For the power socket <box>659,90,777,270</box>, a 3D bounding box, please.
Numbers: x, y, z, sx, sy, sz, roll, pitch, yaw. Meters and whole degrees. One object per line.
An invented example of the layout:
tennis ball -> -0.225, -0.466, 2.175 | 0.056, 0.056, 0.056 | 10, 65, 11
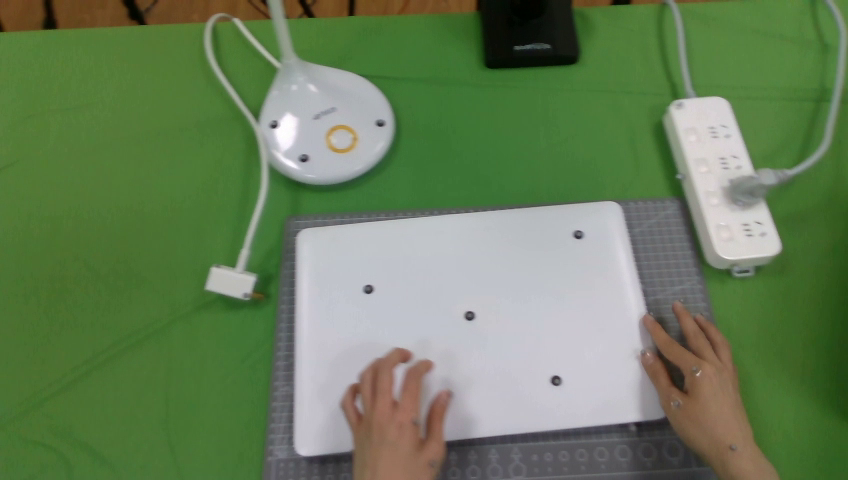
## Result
power socket -> 0.324, -0.076, 0.679 | 0.072, 0.033, 0.225 | -5, 65, -3

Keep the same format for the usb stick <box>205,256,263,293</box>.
usb stick -> -0.194, 0.038, 0.630 | 0.059, 0.021, 0.027 | 21, 95, -15

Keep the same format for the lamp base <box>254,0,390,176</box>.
lamp base -> -0.131, -0.186, 0.654 | 0.160, 0.181, 0.178 | -40, 68, -16

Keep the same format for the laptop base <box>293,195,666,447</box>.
laptop base -> 0.046, 0.074, 0.620 | 0.354, 0.023, 0.233 | -5, 69, -2

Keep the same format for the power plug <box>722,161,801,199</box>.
power plug -> 0.357, -0.059, 0.645 | 0.072, 0.053, 0.035 | 5, 64, 1

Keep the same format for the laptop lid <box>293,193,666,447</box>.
laptop lid -> 0.045, 0.071, 0.608 | 0.357, 0.013, 0.240 | -4, 68, -1
